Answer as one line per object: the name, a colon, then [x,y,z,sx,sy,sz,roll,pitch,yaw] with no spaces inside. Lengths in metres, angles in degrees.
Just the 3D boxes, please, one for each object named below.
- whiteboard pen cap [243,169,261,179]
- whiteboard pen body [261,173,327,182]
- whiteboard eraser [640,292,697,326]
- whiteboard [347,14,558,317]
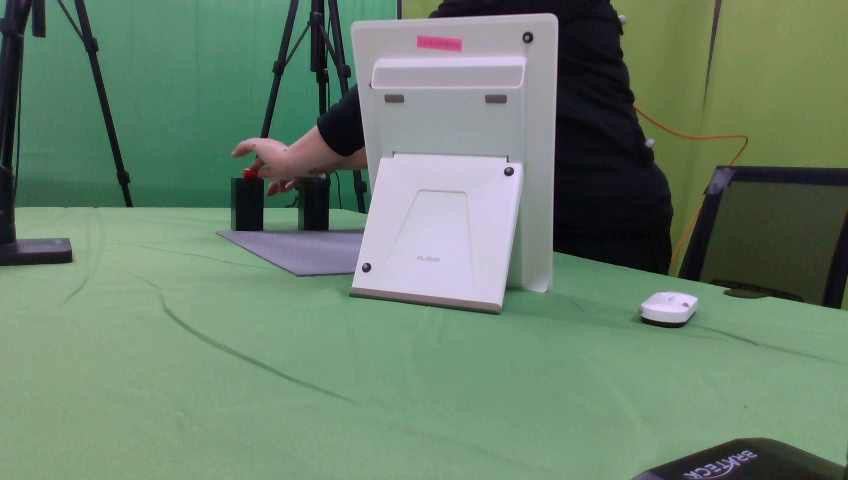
whiteboard pen cap: [-0.325,-0.125,1.145,0.032,0.017,0.017,5,5,-31]
whiteboard pen body: [-0.259,-0.123,1.187,0.141,0.017,0.017,-1,8,-31]
whiteboard eraser: [0.240,0.066,0.590,0.041,0.019,0.102,7,7,31]
whiteboard: [0.012,-0.056,0.609,0.216,0.305,0.144,5,27,20]
